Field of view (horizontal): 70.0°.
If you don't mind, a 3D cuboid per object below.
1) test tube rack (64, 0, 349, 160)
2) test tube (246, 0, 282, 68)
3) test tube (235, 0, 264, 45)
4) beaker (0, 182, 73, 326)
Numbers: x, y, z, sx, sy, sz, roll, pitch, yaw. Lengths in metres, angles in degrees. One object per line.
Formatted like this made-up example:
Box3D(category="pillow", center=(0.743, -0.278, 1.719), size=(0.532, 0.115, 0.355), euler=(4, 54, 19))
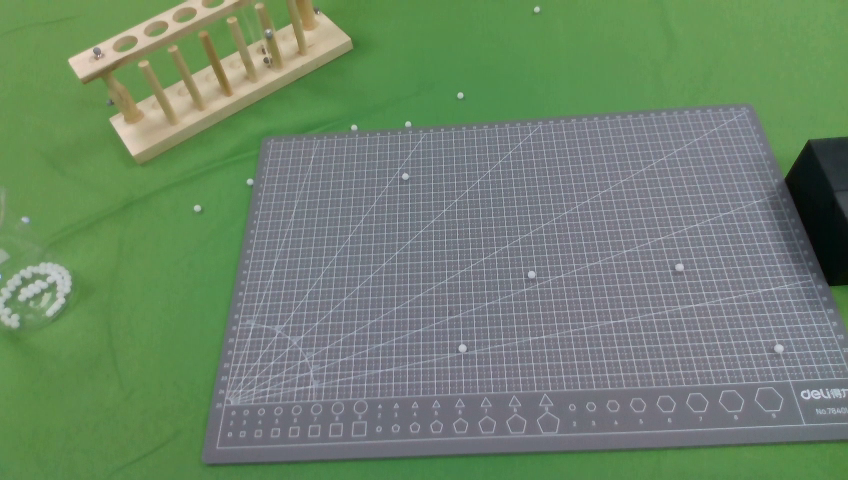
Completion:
Box3D(category="test tube rack", center=(-0.197, -0.184, 0.583), size=(0.242, 0.086, 0.066), euler=(-34, 60, -16))
Box3D(category="test tube", center=(-0.154, -0.220, 0.549), size=(0.017, 0.152, 0.017), euler=(-2, 55, 3))
Box3D(category="test tube", center=(-0.179, -0.246, 0.562), size=(0.017, 0.152, 0.017), euler=(-4, 54, 6))
Box3D(category="beaker", center=(-0.325, 0.013, 0.460), size=(0.073, 0.101, 0.083), euler=(20, 61, 17))
